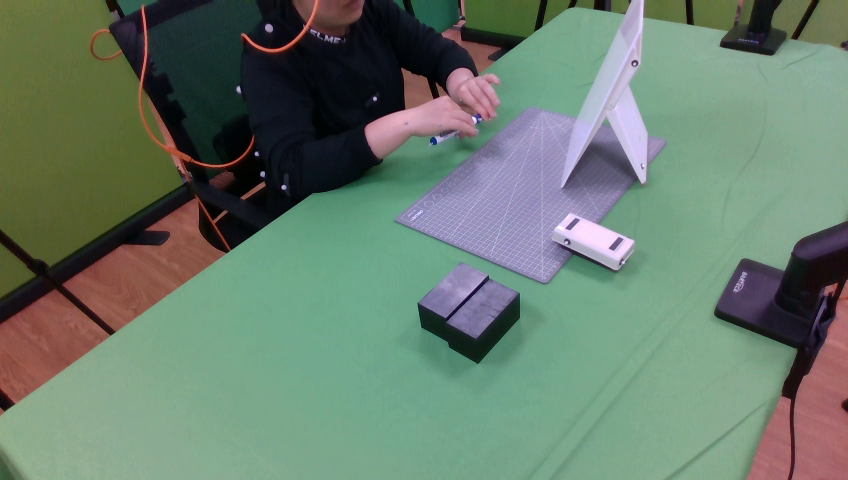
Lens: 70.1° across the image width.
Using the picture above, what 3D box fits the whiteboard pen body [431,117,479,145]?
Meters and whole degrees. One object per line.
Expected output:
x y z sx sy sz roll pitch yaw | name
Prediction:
0.066 -0.211 1.141 0.141 0.017 0.017 -31 45 -32 | whiteboard pen body

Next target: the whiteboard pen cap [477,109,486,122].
0.111 -0.242 1.172 0.018 0.018 0.033 -3 32 5 | whiteboard pen cap

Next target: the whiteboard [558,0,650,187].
0.362 -0.238 1.026 0.144 0.306 0.217 21 44 3 | whiteboard

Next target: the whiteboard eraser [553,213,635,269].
0.258 0.003 0.918 0.112 0.042 0.056 27 49 30 | whiteboard eraser
